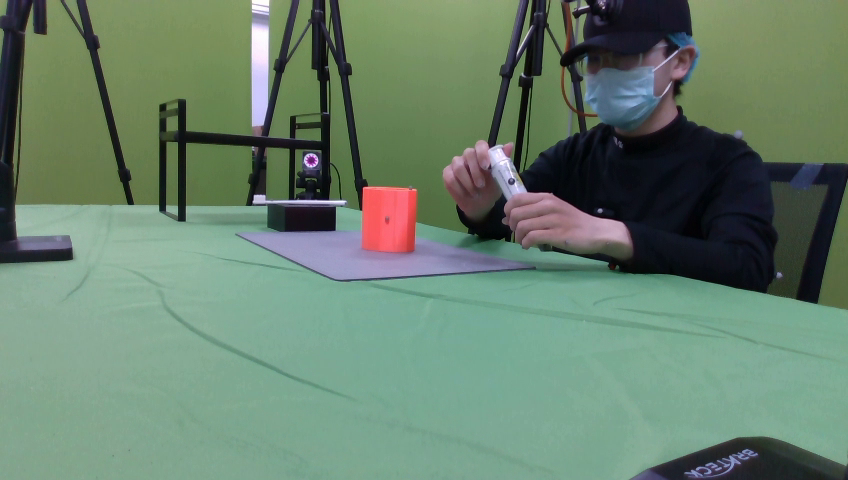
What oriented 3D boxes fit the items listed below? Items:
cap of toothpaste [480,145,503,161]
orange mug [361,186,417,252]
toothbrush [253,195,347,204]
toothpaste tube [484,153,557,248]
[{"bbox_3d":[0.099,-0.123,0.870,0.037,0.011,0.037,-26,-17,-8],"label":"cap of toothpaste"},{"bbox_3d":[-0.054,-0.039,0.962,0.083,0.101,0.126,2,12,0],"label":"orange mug"},{"bbox_3d":[-0.234,-0.076,1.154,0.183,0.016,0.014,-1,4,-27],"label":"toothbrush"},{"bbox_3d":[0.137,-0.058,0.850,0.034,0.164,0.055,-38,-14,25],"label":"toothpaste tube"}]
